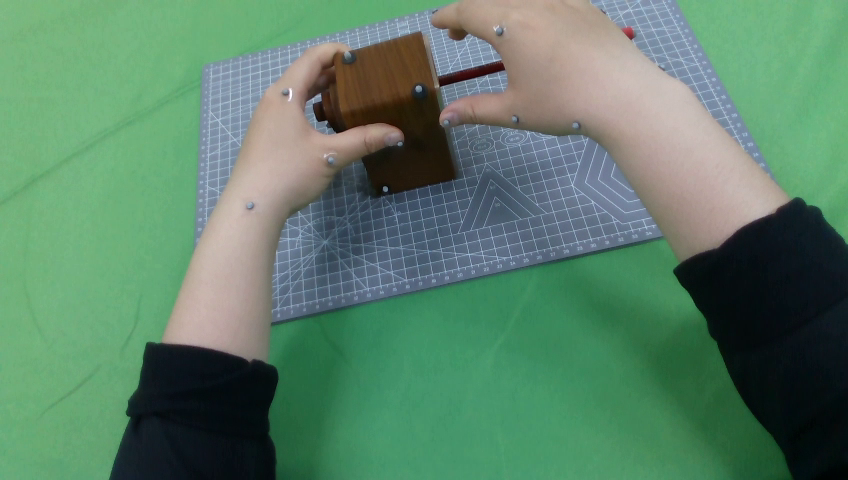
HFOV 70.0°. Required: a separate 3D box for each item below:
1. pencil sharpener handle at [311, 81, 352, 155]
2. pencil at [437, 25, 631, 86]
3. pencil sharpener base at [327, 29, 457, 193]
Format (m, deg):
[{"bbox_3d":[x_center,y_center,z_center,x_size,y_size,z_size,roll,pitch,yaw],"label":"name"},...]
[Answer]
[{"bbox_3d":[-0.075,-0.087,0.454,0.030,0.068,0.035,-15,63,4],"label":"pencil sharpener handle"},{"bbox_3d":[0.051,-0.124,0.432,0.194,0.012,0.012,-14,59,4],"label":"pencil"},{"bbox_3d":[-0.023,-0.093,0.462,0.076,0.108,0.061,-15,59,3],"label":"pencil sharpener base"}]
